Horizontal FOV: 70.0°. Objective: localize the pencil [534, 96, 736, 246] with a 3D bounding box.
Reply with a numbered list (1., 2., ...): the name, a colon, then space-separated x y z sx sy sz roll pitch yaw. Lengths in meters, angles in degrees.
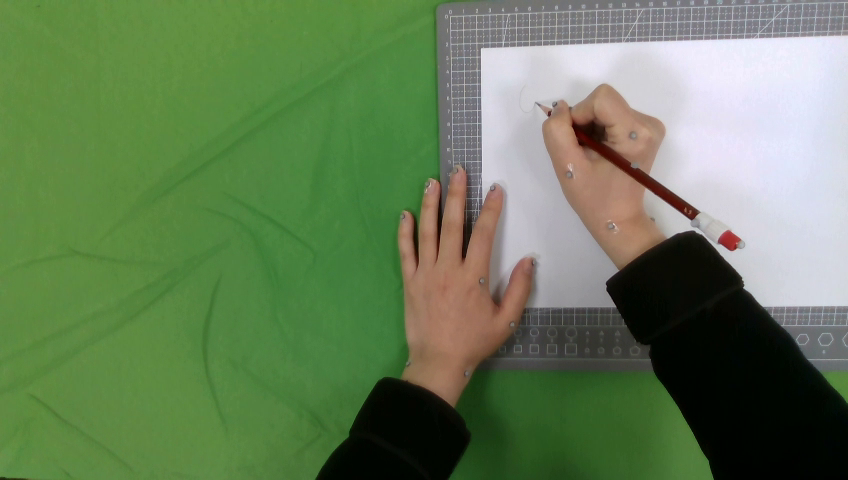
1. pencil: 0.131 -0.056 0.409 0.012 0.192 0.012 -20 136 -20
